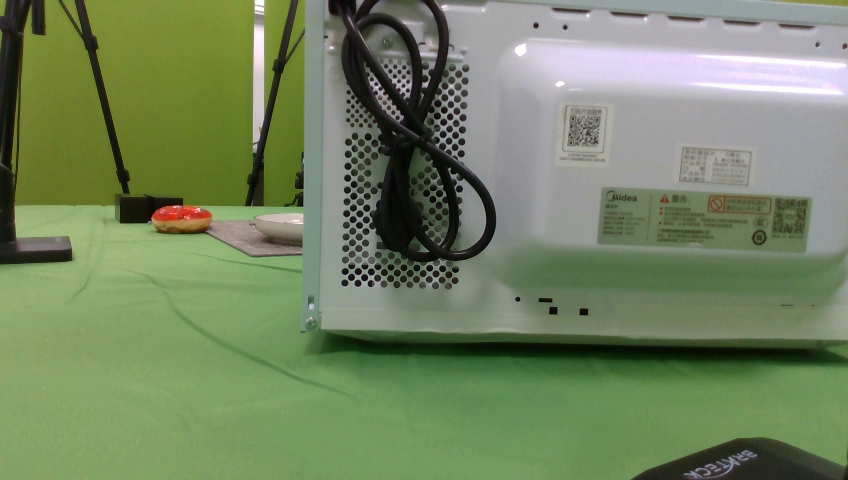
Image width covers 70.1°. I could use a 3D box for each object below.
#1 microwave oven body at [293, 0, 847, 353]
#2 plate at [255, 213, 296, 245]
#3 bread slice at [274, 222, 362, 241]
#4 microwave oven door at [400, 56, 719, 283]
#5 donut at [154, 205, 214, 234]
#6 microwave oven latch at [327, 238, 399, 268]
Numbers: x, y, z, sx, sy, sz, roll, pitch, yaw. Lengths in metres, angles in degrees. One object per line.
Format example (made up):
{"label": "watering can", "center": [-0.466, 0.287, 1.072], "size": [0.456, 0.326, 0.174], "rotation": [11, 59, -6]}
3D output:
{"label": "microwave oven body", "center": [0.122, -0.055, 0.550], "size": [0.442, 0.260, 0.325], "rotation": [3, 7, -5]}
{"label": "plate", "center": [-0.177, -0.018, 1.017], "size": [0.208, 0.039, 0.207], "rotation": [2, 7, 0]}
{"label": "bread slice", "center": [-0.181, -0.016, 1.011], "size": [0.104, 0.019, 0.132], "rotation": [5, 8, 27]}
{"label": "microwave oven door", "center": [0.155, -0.077, 0.697], "size": [0.356, 0.243, 0.039], "rotation": [2, 8, -5]}
{"label": "donut", "center": [-0.426, -0.037, 1.075], "size": [0.099, 0.048, 0.099], "rotation": [2, 12, 0]}
{"label": "microwave oven latch", "center": [-0.069, 0.015, 0.694], "size": [0.079, 0.029, 0.030], "rotation": [3, 7, -3]}
